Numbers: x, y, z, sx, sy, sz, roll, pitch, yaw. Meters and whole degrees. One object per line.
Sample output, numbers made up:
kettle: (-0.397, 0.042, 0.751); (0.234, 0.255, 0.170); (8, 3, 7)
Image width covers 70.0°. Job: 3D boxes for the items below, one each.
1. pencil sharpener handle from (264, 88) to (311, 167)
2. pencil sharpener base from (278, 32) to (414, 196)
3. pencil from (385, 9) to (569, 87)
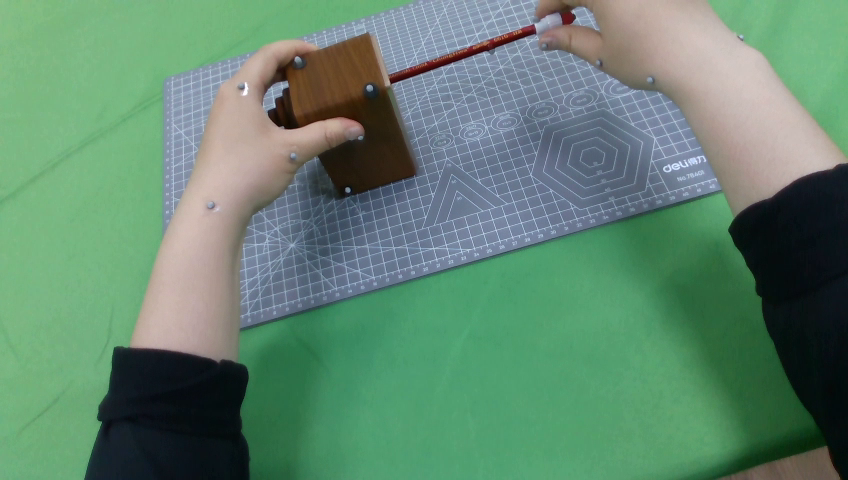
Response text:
pencil sharpener handle: (-0.109, -0.081, 0.460); (0.030, 0.068, 0.035); (-19, 57, 2)
pencil sharpener base: (-0.059, -0.092, 0.470); (0.077, 0.108, 0.061); (-19, 59, 2)
pencil: (0.013, -0.131, 0.443); (0.194, 0.012, 0.012); (-20, 59, 2)
